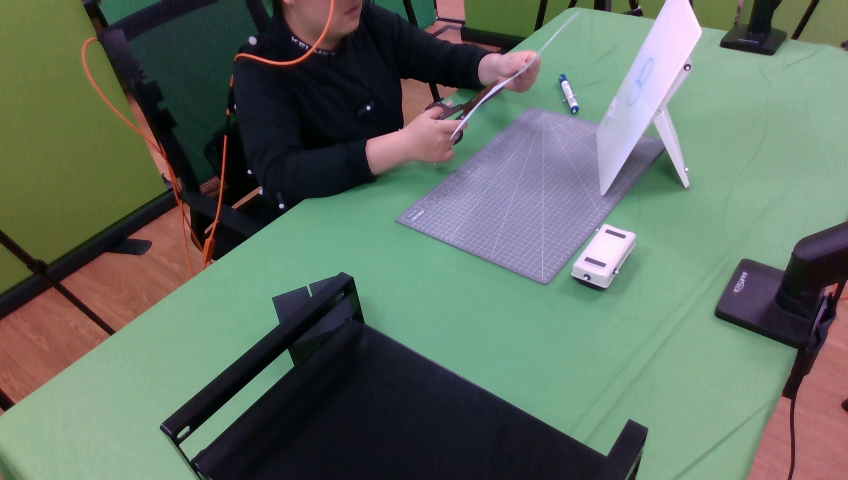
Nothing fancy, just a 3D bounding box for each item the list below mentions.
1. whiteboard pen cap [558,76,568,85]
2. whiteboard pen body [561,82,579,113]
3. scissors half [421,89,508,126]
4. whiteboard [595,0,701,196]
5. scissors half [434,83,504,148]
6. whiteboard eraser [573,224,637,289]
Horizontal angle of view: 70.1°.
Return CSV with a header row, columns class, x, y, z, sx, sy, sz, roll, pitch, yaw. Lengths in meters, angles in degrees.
class,x,y,z,sx,sy,sz,roll,pitch,yaw
whiteboard pen cap,0.310,-0.350,1.341,0.018,0.018,0.033,-6,41,2
whiteboard pen body,0.310,-0.312,1.298,0.017,0.017,0.140,-6,41,2
scissors half,0.069,-0.242,1.085,0.174,0.040,0.013,-11,20,27
whiteboard,0.421,-0.227,1.010,0.144,0.305,0.216,18,42,-2
scissors half,0.081,-0.224,1.090,0.040,0.174,0.013,44,35,-7
whiteboard eraser,0.267,0.025,0.891,0.055,0.042,0.113,19,47,31
